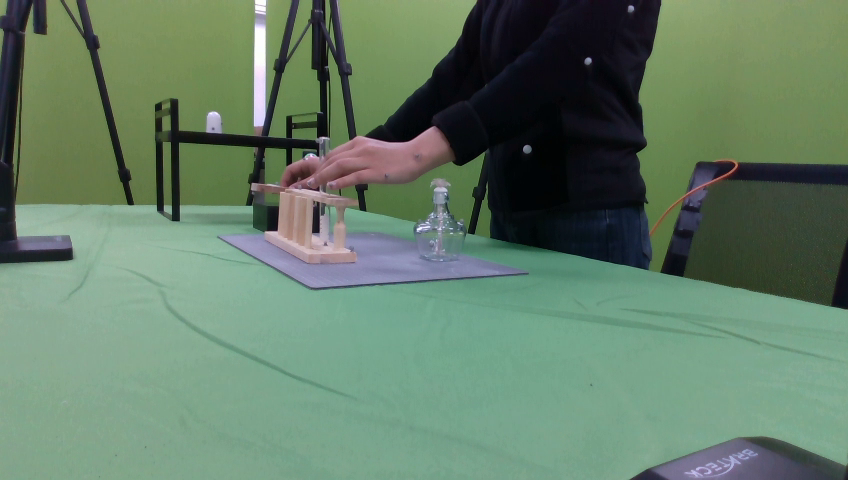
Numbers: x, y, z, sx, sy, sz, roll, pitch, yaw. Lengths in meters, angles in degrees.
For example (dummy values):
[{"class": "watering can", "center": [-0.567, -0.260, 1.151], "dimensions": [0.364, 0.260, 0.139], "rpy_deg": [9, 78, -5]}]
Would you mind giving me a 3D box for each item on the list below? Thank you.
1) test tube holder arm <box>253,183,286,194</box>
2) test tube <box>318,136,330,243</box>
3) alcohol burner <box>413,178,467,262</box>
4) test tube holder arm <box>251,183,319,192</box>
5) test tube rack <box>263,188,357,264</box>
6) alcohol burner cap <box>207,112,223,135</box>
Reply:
[{"class": "test tube holder arm", "center": [-0.279, -0.094, 1.121], "dimensions": [0.010, 0.015, 0.088], "rpy_deg": [21, 10, 30]}, {"class": "test tube", "center": [-0.142, -0.071, 0.854], "dimensions": [0.017, 0.150, 0.017], "rpy_deg": [1, 7, 0]}, {"class": "alcohol burner", "center": [0.022, -0.029, 0.864], "dimensions": [0.078, 0.119, 0.078], "rpy_deg": [1, 6, 0]}, {"class": "test tube holder arm", "center": [-0.260, -0.095, 1.163], "dimensions": [0.013, 0.015, 0.179], "rpy_deg": [21, 10, 29]}, {"class": "test tube rack", "center": [-0.175, -0.027, 0.890], "dimensions": [0.067, 0.085, 0.241], "rpy_deg": [-1, 8, -28]}, {"class": "alcohol burner cap", "center": [-0.440, -0.245, 1.271], "dimensions": [0.034, 0.048, 0.034], "rpy_deg": [2, 8, 0]}]
